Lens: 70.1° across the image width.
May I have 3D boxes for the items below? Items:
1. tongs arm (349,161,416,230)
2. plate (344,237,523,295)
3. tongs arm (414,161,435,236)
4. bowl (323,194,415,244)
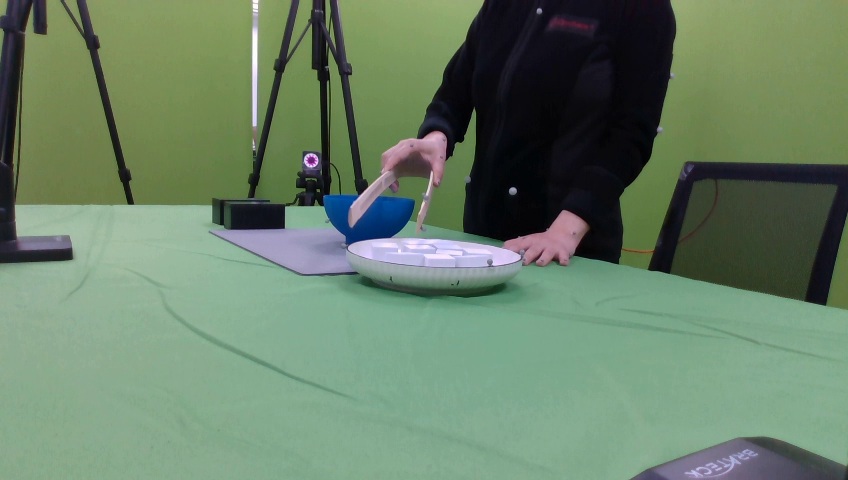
[{"bbox_3d":[-0.055,-0.075,0.880,0.028,0.028,0.387,1,16,8],"label":"tongs arm"},{"bbox_3d":[0.010,0.030,0.707,0.208,0.039,0.207,3,8,0],"label":"plate"},{"bbox_3d":[-0.010,-0.071,0.877,0.051,0.026,0.385,4,17,5],"label":"tongs arm"},{"bbox_3d":[-0.091,-0.032,0.986,0.151,0.077,0.151,2,7,0],"label":"bowl"}]
